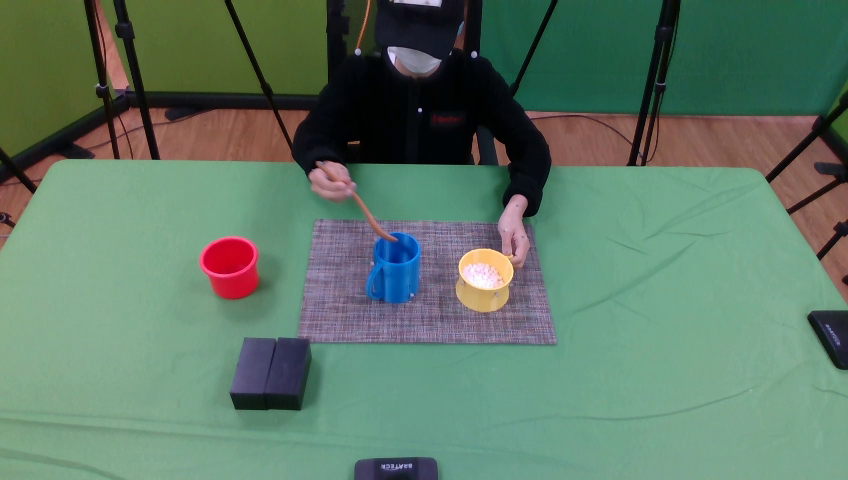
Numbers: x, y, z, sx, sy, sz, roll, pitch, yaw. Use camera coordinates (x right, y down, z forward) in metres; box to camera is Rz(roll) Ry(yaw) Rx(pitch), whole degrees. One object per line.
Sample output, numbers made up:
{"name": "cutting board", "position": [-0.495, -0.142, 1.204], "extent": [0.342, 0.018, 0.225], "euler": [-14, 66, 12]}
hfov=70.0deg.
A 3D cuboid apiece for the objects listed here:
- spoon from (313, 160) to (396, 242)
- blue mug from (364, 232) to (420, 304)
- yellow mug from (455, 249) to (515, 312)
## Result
{"name": "spoon", "position": [-0.112, -0.062, 0.999], "extent": [0.021, 0.194, 0.041], "euler": [-43, 23, -6]}
{"name": "blue mug", "position": [-0.062, 0.059, 1.073], "extent": [0.082, 0.106, 0.116], "euler": [35, 53, 27]}
{"name": "yellow mug", "position": [0.120, 0.066, 1.108], "extent": [0.131, 0.064, 0.099], "euler": [-31, 55, -30]}
